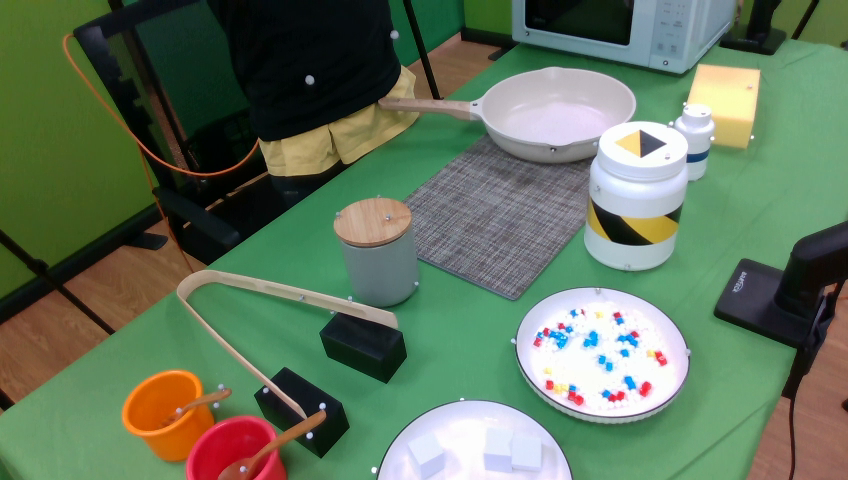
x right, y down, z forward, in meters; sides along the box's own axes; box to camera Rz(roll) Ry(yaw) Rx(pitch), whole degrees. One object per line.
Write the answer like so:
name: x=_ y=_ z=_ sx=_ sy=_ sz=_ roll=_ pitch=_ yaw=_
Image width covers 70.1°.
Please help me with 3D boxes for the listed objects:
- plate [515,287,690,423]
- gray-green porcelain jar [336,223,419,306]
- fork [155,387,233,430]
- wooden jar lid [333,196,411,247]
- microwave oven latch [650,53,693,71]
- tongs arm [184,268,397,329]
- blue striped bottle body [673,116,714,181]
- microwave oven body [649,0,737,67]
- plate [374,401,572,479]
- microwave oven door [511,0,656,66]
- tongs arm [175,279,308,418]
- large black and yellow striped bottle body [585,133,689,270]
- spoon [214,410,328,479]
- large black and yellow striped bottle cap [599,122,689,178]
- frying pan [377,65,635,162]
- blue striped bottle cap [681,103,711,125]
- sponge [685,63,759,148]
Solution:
plate: x=0.220 y=0.144 z=0.760 sx=0.209 sy=0.038 sz=0.208 roll=-4 pitch=40 yaw=4
gray-green porcelain jar: x=-0.064 y=0.024 z=0.872 sx=0.106 sy=0.127 sz=0.105 roll=-4 pitch=41 yaw=4
fork: x=-0.264 y=0.191 z=0.687 sx=0.206 sy=0.018 sz=0.028 roll=-33 pitch=8 yaw=44
wooden jar lid: x=-0.070 y=-0.023 z=0.830 sx=0.108 sy=0.021 sz=0.108 roll=-4 pitch=36 yaw=3
microwave oven latch: x=0.531 y=-0.386 z=1.301 sx=0.078 sy=0.029 sz=0.030 roll=26 pitch=51 yaw=33
tongs arm: x=-0.202 y=0.084 z=0.847 sx=0.382 sy=0.027 sz=0.051 roll=11 pitch=44 yaw=34
blue striped bottle body: x=0.451 y=-0.166 z=1.023 sx=0.063 sy=0.121 sz=0.063 roll=-5 pitch=41 yaw=4
microwave oven body: x=0.475 y=-0.602 z=1.412 sx=0.438 sy=0.261 sz=0.327 roll=23 pitch=50 yaw=32
plate: x=0.051 y=0.268 z=0.639 sx=0.207 sy=0.039 sz=0.206 roll=-3 pitch=40 yaw=3
microwave oven door: x=0.351 y=-0.540 z=1.349 sx=0.353 sy=0.245 sz=0.039 roll=24 pitch=50 yaw=31
tongs arm: x=-0.255 y=0.133 z=0.800 sx=0.028 sy=0.028 sz=0.384 roll=-41 pitch=40 yaw=-23
large black and yellow striped bottle body: x=0.305 y=-0.061 z=0.874 sx=0.131 sy=0.185 sz=0.130 roll=-4 pitch=41 yaw=4
spoon: x=-0.166 y=0.224 z=0.639 sx=0.193 sy=0.022 sz=0.041 roll=-40 pitch=33 yaw=29
large black and yellow striped bottle cap: x=0.296 y=-0.123 z=0.818 sx=0.115 sy=0.019 sz=0.114 roll=-5 pitch=40 yaw=4
frying pan: x=0.150 y=-0.254 z=1.177 sx=0.488 sy=0.103 sz=0.306 roll=6 pitch=41 yaw=3
blue striped bottle cap: x=0.446 y=-0.205 z=0.990 sx=0.044 sy=0.021 sz=0.044 roll=-5 pitch=43 yaw=5
sponge: x=0.569 y=-0.263 z=1.164 sx=0.117 sy=0.061 sz=0.207 roll=12 pitch=45 yaw=22
